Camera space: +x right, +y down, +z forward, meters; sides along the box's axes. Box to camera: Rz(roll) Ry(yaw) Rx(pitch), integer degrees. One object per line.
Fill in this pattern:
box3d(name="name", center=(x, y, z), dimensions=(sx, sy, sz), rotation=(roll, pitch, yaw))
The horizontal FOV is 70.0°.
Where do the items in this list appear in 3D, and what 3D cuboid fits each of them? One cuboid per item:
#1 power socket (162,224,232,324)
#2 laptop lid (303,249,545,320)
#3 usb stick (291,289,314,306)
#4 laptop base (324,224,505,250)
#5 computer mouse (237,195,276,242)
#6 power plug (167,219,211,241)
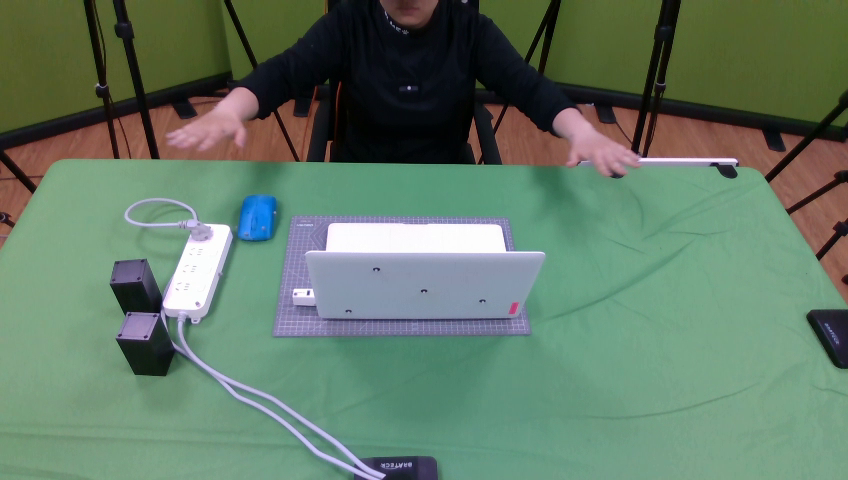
box3d(name="power socket", center=(-0.411, 0.052, 1.106), dimensions=(0.072, 0.033, 0.225), rotation=(4, 45, -1))
box3d(name="laptop lid", center=(-0.003, 0.076, 0.962), dimensions=(0.357, 0.242, 0.013), rotation=(1, 58, -5))
box3d(name="usb stick", center=(-0.203, 0.101, 1.067), dimensions=(0.059, 0.027, 0.021), rotation=(4, 46, -5))
box3d(name="laptop base", center=(-0.014, 0.055, 1.144), dimensions=(0.355, 0.023, 0.234), rotation=(0, 42, -4))
box3d(name="computer mouse", center=(-0.334, -0.047, 1.207), dimensions=(0.063, 0.041, 0.116), rotation=(3, 50, -5))
box3d(name="power plug", center=(-0.438, -0.017, 1.143), dimensions=(0.072, 0.053, 0.035), rotation=(11, 44, 7))
